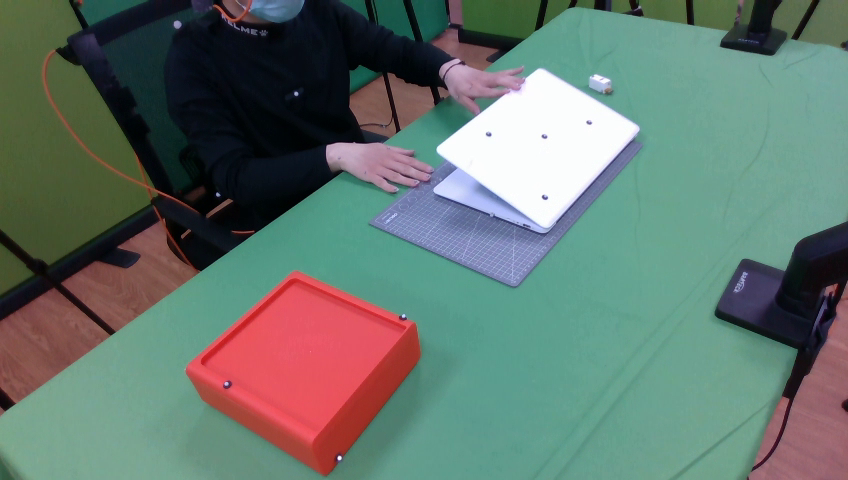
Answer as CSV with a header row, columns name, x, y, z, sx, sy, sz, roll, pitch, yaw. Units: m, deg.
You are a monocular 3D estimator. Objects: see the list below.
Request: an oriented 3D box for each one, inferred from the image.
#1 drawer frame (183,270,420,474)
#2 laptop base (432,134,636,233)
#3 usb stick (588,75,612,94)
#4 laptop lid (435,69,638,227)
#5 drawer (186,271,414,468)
name,x,y,z,sx,sy,sz,roll,pitch,yaw
drawer frame,-0.149,0.153,0.767,0.212,0.083,0.202,20,46,27
laptop base,0.210,-0.142,1.111,0.233,0.023,0.355,21,47,33
usb stick,0.381,-0.333,1.304,0.021,0.027,0.058,-25,46,-22
laptop lid,0.211,-0.180,1.072,0.240,0.013,0.358,38,54,16
drawer,-0.150,0.153,0.768,0.210,0.073,0.195,20,46,28
